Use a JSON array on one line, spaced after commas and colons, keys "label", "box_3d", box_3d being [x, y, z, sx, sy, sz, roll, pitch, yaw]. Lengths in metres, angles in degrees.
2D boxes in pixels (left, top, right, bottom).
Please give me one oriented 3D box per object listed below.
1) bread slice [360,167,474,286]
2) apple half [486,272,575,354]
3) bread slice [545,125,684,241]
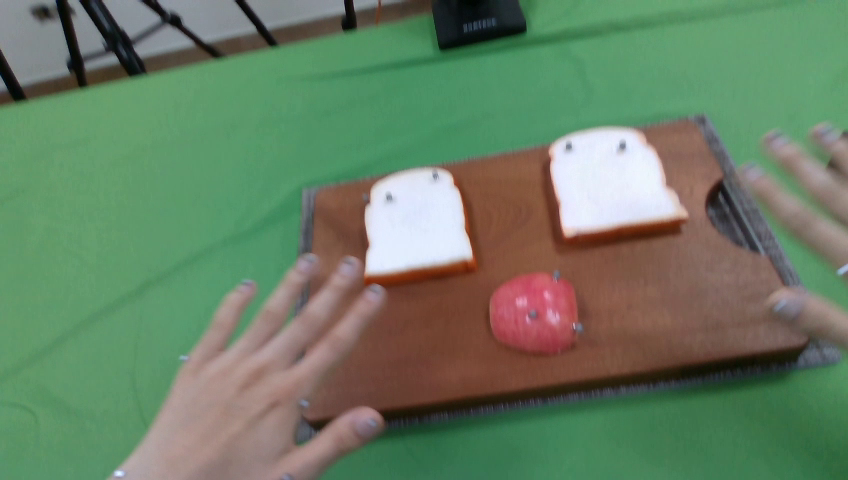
[{"label": "bread slice", "box_3d": [-0.013, -0.019, 0.586, 0.105, 0.019, 0.130, -10, 52, 3]}, {"label": "apple half", "box_3d": [0.087, 0.053, 0.496, 0.081, 0.033, 0.080, -5, 53, 6]}, {"label": "bread slice", "box_3d": [0.167, -0.058, 0.574, 0.107, 0.018, 0.133, -11, 50, 4]}]
